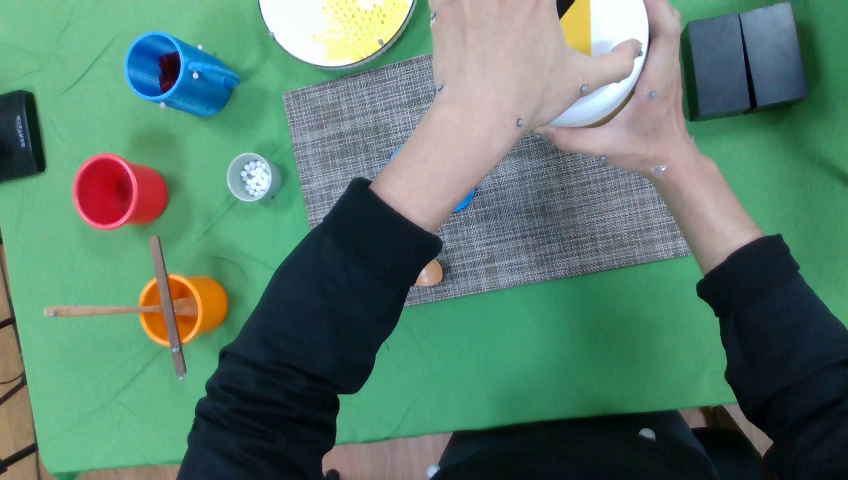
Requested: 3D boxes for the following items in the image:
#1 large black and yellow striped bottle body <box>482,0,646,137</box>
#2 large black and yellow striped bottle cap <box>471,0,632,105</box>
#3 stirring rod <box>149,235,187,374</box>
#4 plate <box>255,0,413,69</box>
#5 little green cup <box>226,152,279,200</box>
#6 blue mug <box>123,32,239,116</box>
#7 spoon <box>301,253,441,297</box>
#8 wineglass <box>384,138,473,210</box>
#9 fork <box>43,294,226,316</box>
[{"bbox_3d":[0.122,-0.162,0.521,0.130,0.184,0.131,2,95,20],"label":"large black and yellow striped bottle body"},{"bbox_3d":[0.090,-0.156,0.437,0.114,0.019,0.115,3,99,20],"label":"large black and yellow striped bottle cap"},{"bbox_3d":[-0.319,0.080,0.755,0.014,0.006,0.176,-12,90,13],"label":"stirring rod"},{"bbox_3d":[-0.109,-0.315,0.753,0.208,0.038,0.209,0,93,12],"label":"plate"},{"bbox_3d":[-0.220,-0.081,0.787,0.061,0.039,0.061,1,93,13],"label":"little green cup"},{"bbox_3d":[-0.294,-0.206,0.763,0.116,0.106,0.082,2,92,12],"label":"blue mug"},{"bbox_3d":[-0.070,0.050,0.763,0.193,0.021,0.042,-13,110,13],"label":"spoon"},{"bbox_3d":[0.010,-0.068,0.664,0.073,0.172,0.073,0,91,13],"label":"wineglass"},{"bbox_3d":[-0.360,0.085,0.767,0.208,0.018,0.028,1,99,-31],"label":"fork"}]
